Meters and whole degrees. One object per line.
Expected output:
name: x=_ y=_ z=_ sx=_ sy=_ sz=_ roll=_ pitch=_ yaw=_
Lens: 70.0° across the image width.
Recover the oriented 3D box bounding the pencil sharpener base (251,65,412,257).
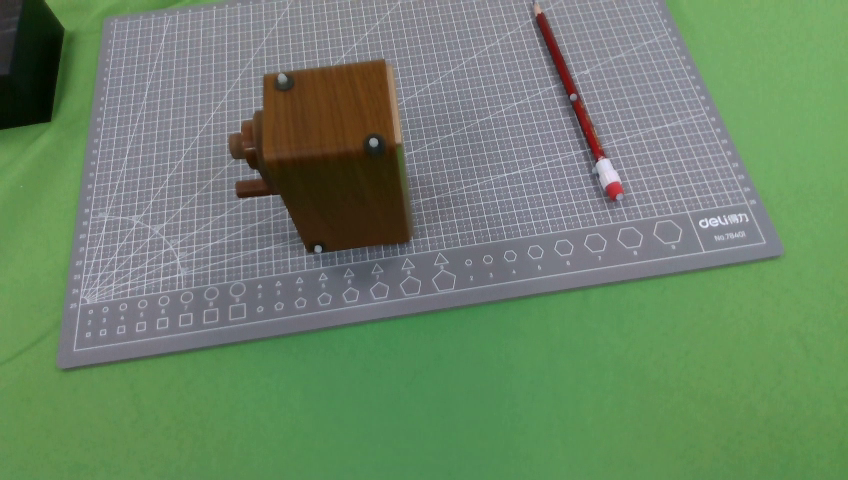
pencil sharpener base: x=-0.050 y=-0.041 z=0.357 sx=0.077 sy=0.108 sz=0.061 roll=-7 pitch=62 yaw=-1

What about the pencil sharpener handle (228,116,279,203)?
pencil sharpener handle: x=-0.101 y=-0.041 z=0.345 sx=0.030 sy=0.068 sz=0.035 roll=-7 pitch=64 yaw=-1

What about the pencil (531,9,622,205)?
pencil: x=0.106 y=-0.106 z=0.442 sx=0.012 sy=0.012 sz=0.192 roll=-11 pitch=61 yaw=-4
